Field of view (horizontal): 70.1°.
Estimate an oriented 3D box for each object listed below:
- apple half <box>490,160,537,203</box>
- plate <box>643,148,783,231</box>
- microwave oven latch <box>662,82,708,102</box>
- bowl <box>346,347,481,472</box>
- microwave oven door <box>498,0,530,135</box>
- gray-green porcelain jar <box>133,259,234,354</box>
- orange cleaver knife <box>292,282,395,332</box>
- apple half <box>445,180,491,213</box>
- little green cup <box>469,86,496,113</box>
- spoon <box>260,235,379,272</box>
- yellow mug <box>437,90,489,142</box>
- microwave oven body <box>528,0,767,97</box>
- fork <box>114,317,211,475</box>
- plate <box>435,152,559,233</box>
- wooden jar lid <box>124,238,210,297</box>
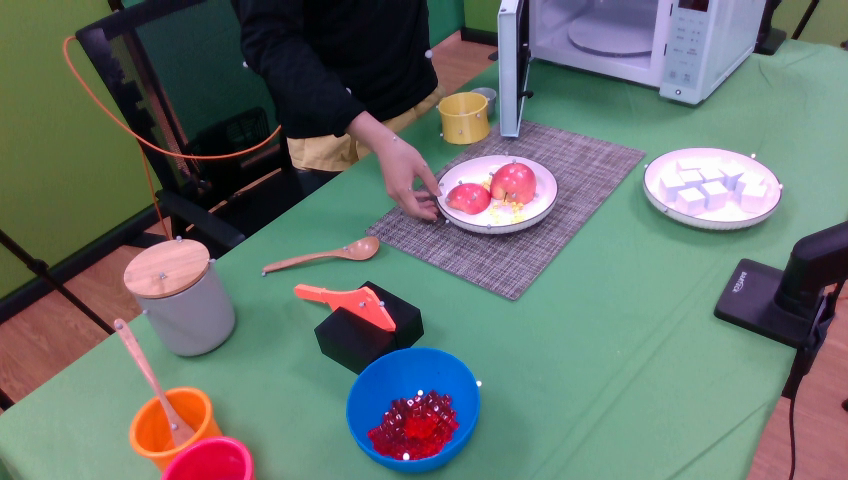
[{"bbox_3d":[0.154,-0.106,1.030,0.080,0.053,0.075,22,46,31],"label":"apple half"},{"bbox_3d":[0.464,-0.080,0.986,0.207,0.039,0.206,-4,41,4],"label":"plate"},{"bbox_3d":[0.517,-0.298,1.202,0.078,0.029,0.030,27,52,34],"label":"microwave oven latch"},{"bbox_3d":[-0.008,0.205,0.691,0.151,0.077,0.150,-4,40,4],"label":"bowl"},{"bbox_3d":[0.186,-0.411,1.225,0.039,0.245,0.355,3,42,12],"label":"microwave oven door"},{"bbox_3d":[-0.328,0.087,0.836,0.106,0.127,0.105,-4,41,4],"label":"gray-green porcelain jar"},{"bbox_3d":[-0.116,0.091,0.835,0.209,0.077,0.012,2,32,48],"label":"orange cleaver knife"},{"bbox_3d":[0.076,-0.084,1.029,0.081,0.033,0.081,-2,42,2],"label":"apple half"},{"bbox_3d":[0.123,-0.298,1.285,0.061,0.039,0.061,-4,41,4],"label":"little green cup"},{"bbox_3d":[-0.167,0.024,0.966,0.194,0.022,0.041,-10,58,-3],"label":"spoon"},{"bbox_3d":[0.069,-0.257,1.225,0.100,0.064,0.129,-33,44,-27],"label":"yellow mug"},{"bbox_3d":[0.473,-0.516,1.313,0.438,0.261,0.327,26,51,34],"label":"microwave oven body"},{"bbox_3d":[-0.309,0.180,0.708,0.028,0.018,0.207,-29,89,-25],"label":"fork"},{"bbox_3d":[0.124,-0.078,1.026,0.209,0.038,0.208,-4,40,4],"label":"plate"},{"bbox_3d":[-0.335,0.039,0.794,0.108,0.021,0.108,-2,40,2],"label":"wooden jar lid"}]
